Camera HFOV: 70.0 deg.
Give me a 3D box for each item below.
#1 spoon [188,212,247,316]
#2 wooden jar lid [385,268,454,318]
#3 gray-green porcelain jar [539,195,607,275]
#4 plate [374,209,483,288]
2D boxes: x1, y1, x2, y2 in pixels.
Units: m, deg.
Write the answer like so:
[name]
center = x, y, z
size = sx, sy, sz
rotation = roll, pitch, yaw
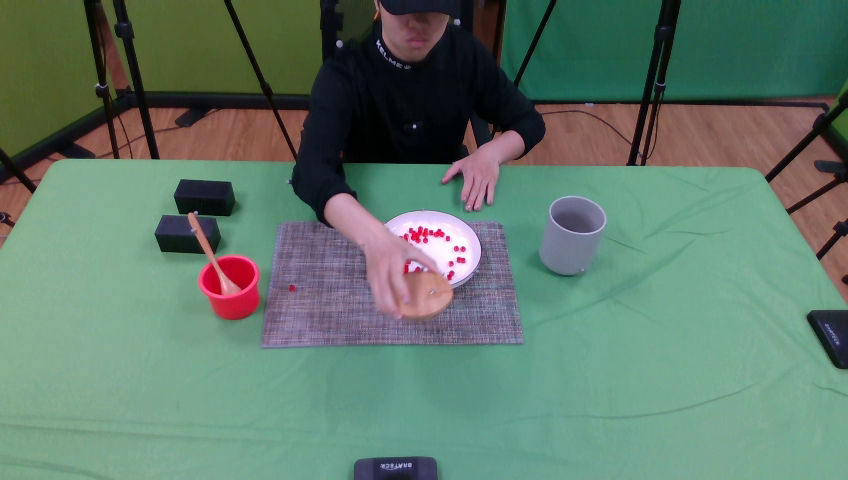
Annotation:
[spoon]
center = -0.358, 0.042, 1.037
size = 0.041, 0.021, 0.194
rotation = -28, 93, -21
[wooden jar lid]
center = -0.006, 0.085, 0.953
size = 0.108, 0.021, 0.108
rotation = -3, 36, 3
[gray-green porcelain jar]
center = 0.278, -0.004, 1.148
size = 0.106, 0.127, 0.105
rotation = 2, 46, -2
[plate]
center = 0.008, 0.024, 1.158
size = 0.208, 0.039, 0.206
rotation = 2, 46, -2
